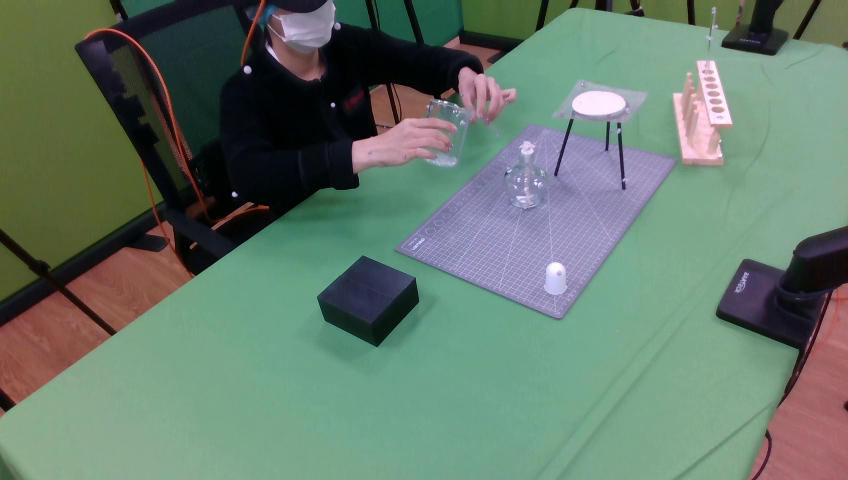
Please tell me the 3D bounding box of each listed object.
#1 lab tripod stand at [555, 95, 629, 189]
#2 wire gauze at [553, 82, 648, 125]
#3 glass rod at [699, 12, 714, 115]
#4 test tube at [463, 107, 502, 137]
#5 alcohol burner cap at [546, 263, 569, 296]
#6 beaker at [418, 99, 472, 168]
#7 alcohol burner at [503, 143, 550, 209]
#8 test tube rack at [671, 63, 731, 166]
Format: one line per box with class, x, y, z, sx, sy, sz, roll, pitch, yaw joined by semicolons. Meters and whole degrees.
lab tripod stand;0.300;-0.174;1.045;0.148;0.132;0.147;-5;38;5
wire gauze;0.293;-0.226;1.002;0.120;0.011;0.125;17;45;27
glass rod;0.525;-0.323;1.124;0.008;0.201;0.008;-8;38;6
test tube;0.109;-0.213;1.102;0.017;0.017;0.151;19;3;29
alcohol burner cap;0.191;0.053;0.862;0.034;0.048;0.033;-5;40;4
beaker;0.035;-0.175;1.005;0.073;0.100;0.084;22;17;27
alcohol burner;0.171;-0.112;1.006;0.078;0.119;0.077;-3;41;3
test tube rack;0.513;-0.241;1.132;0.066;0.085;0.242;4;41;14
